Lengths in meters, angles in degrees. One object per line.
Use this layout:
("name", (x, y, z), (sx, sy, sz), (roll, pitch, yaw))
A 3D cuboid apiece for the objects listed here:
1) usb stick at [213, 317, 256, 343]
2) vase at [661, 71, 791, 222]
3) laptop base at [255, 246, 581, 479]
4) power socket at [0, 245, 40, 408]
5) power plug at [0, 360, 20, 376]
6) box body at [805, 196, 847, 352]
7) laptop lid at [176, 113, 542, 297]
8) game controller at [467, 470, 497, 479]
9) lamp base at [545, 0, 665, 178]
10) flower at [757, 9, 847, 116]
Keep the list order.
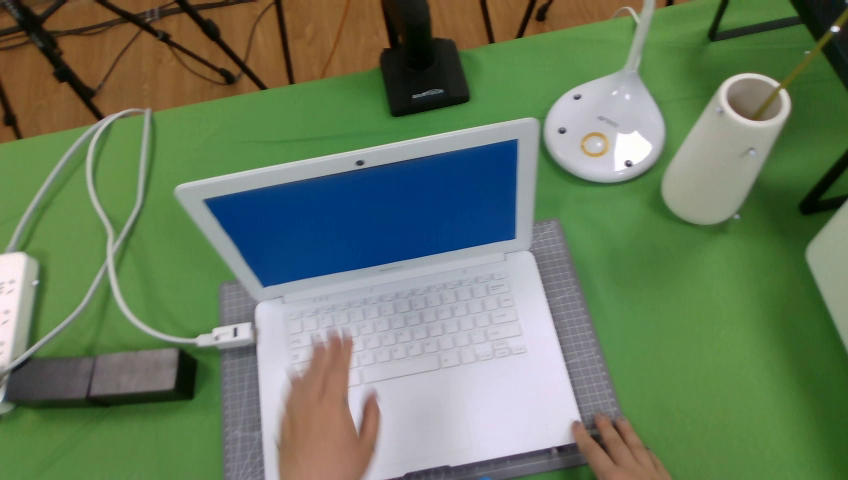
("usb stick", (-0.221, 0.108, 0.730), (0.059, 0.027, 0.021), (-7, 63, -5))
("vase", (0.342, -0.103, 0.698), (0.098, 0.202, 0.097), (-3, 63, 5))
("laptop base", (-0.018, 0.143, 0.710), (0.354, 0.023, 0.233), (-11, 68, -1))
("power socket", (-0.539, 0.108, 0.763), (0.072, 0.033, 0.224), (-8, 64, 0))
("power plug", (-0.502, 0.162, 0.712), (0.072, 0.053, 0.035), (4, 64, 5))
("box body", (0.589, 0.103, 0.600), (0.254, 0.162, 0.360), (-9, 64, 1))
("laptop lid", (-0.050, -0.025, 0.661), (0.357, 0.244, 0.013), (-12, 57, 1))
("game controller", (0.032, 0.305, 0.616), (0.155, 0.052, 0.096), (-25, 62, -7))
("lamp base", (0.245, -0.198, 0.763), (0.160, 0.182, 0.178), (20, 65, 14))
("flower", (0.355, -0.142, 0.624), (0.038, 0.364, 0.043), (4, 54, -11))
